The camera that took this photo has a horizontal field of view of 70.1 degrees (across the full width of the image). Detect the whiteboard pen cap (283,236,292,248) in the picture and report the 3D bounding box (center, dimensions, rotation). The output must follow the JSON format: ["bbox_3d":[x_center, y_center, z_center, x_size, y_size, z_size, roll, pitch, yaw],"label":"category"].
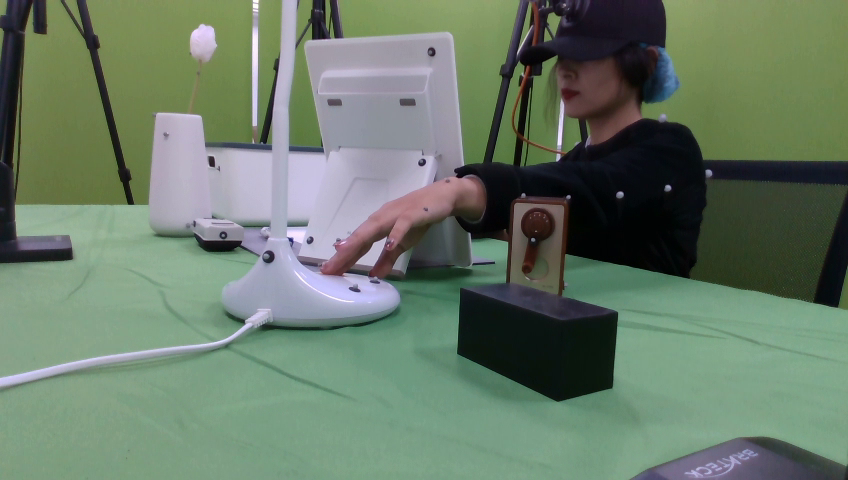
[{"bbox_3d":[-0.211,0.003,0.913,0.018,0.018,0.033,-2,6,-28],"label":"whiteboard pen cap"}]

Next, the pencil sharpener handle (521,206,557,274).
[{"bbox_3d":[0.112,0.001,0.611,0.036,0.067,0.031,12,10,12],"label":"pencil sharpener handle"}]

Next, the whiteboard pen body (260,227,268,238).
[{"bbox_3d":[-0.239,-0.005,0.964,0.017,0.017,0.140,-2,9,-28],"label":"whiteboard pen body"}]

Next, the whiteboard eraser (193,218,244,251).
[{"bbox_3d":[-0.307,-0.009,0.900,0.056,0.042,0.112,-4,10,-28],"label":"whiteboard eraser"}]

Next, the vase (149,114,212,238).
[{"bbox_3d":[-0.405,-0.106,1.005,0.098,0.200,0.098,2,6,0],"label":"vase"}]

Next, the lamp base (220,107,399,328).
[{"bbox_3d":[-0.102,-0.023,0.531,0.160,0.180,0.179,4,10,10],"label":"lamp base"}]

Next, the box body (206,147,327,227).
[{"bbox_3d":[-0.276,-0.122,1.320,0.366,0.160,0.253,-2,9,-30],"label":"box body"}]

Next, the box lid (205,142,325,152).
[{"bbox_3d":[-0.270,-0.196,1.310,0.373,0.015,0.262,-2,9,-30],"label":"box lid"}]

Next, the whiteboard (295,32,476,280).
[{"bbox_3d":[-0.076,-0.084,0.747,0.216,0.305,0.144,7,28,29],"label":"whiteboard"}]

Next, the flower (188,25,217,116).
[{"bbox_3d":[-0.394,-0.189,1.011,0.044,0.361,0.038,-1,-13,27],"label":"flower"}]

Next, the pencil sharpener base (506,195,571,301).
[{"bbox_3d":[0.126,0.007,0.662,0.061,0.107,0.077,4,8,13],"label":"pencil sharpener base"}]
